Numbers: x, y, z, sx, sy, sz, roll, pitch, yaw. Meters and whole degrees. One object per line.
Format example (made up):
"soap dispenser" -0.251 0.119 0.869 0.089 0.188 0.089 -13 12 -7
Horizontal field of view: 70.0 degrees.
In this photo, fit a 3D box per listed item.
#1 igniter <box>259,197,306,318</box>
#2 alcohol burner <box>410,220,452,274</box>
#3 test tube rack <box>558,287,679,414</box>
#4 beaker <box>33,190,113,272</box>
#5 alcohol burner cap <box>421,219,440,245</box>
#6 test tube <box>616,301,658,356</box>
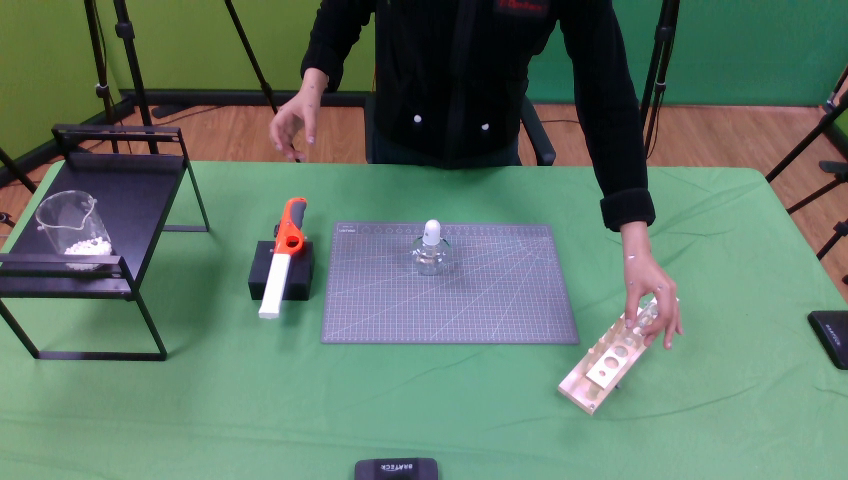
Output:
"igniter" -0.252 0.021 1.088 0.057 0.025 0.275 4 48 -3
"alcohol burner" 0.013 0.008 1.120 0.078 0.120 0.077 1 48 -1
"test tube rack" 0.327 0.170 1.009 0.066 0.085 0.242 35 54 27
"beaker" -0.493 -0.008 0.864 0.083 0.101 0.074 37 55 27
"alcohol burner cap" 0.013 -0.017 1.094 0.034 0.048 0.033 5 43 -5
"test tube" 0.330 0.141 0.945 0.017 0.151 0.017 3 51 -4
